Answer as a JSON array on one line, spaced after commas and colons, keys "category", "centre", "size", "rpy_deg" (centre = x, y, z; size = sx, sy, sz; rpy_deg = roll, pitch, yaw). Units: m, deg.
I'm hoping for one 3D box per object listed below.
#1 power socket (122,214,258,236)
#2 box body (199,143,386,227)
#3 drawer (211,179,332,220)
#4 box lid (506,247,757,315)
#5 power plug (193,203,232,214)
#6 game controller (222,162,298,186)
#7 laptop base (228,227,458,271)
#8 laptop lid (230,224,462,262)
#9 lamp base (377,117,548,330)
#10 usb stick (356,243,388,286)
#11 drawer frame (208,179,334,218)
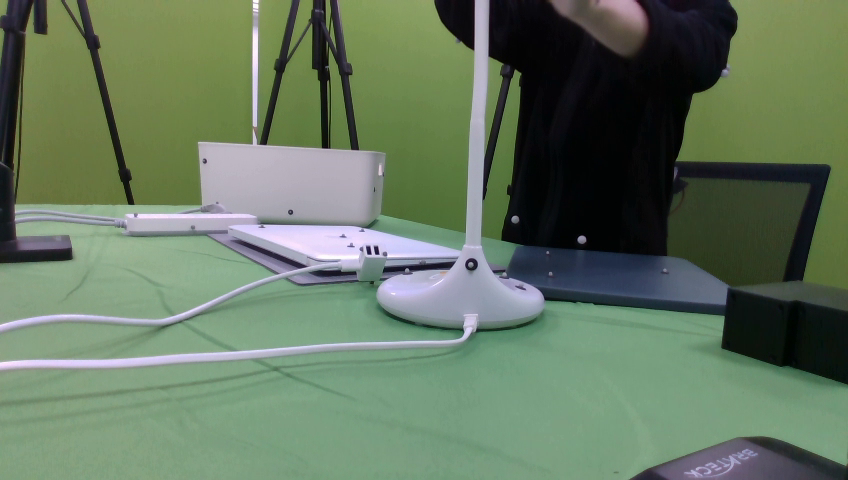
[{"category": "power socket", "centre": [-0.399, -0.028, 1.049], "size": [0.228, 0.032, 0.072], "rpy_deg": [-3, 8, -34]}, {"category": "box body", "centre": [-0.276, -0.124, 1.334], "size": [0.364, 0.160, 0.254], "rpy_deg": [3, 7, 1]}, {"category": "drawer", "centre": [-0.328, -0.095, 1.332], "size": [0.212, 0.073, 0.194], "rpy_deg": [5, 8, 6]}, {"category": "box lid", "centre": [0.244, 0.044, 0.793], "size": [0.263, 0.015, 0.372], "rpy_deg": [4, 7, 11]}, {"category": "power plug", "centre": [-0.393, -0.042, 1.139], "size": [0.072, 0.052, 0.035], "rpy_deg": [-14, 1, 31]}, {"category": "game controller", "centre": [-0.357, -0.143, 1.321], "size": [0.156, 0.051, 0.097], "rpy_deg": [1, 2, -16]}, {"category": "laptop base", "centre": [-0.122, 0.011, 0.889], "size": [0.237, 0.023, 0.352], "rpy_deg": [2, 6, -35]}, {"category": "laptop lid", "centre": [-0.119, 0.000, 0.889], "size": [0.243, 0.013, 0.355], "rpy_deg": [1, 7, -33]}, {"category": "lamp base", "centre": [0.041, -0.020, 0.548], "size": [0.161, 0.180, 0.179], "rpy_deg": [1, 12, -10]}, {"category": "usb stick", "centre": [-0.058, 0.029, 0.658], "size": [0.027, 0.059, 0.021], "rpy_deg": [-5, 52, -18]}, {"category": "drawer frame", "centre": [-0.327, -0.093, 1.328], "size": [0.213, 0.082, 0.202], "rpy_deg": [0, 5, 6]}]
